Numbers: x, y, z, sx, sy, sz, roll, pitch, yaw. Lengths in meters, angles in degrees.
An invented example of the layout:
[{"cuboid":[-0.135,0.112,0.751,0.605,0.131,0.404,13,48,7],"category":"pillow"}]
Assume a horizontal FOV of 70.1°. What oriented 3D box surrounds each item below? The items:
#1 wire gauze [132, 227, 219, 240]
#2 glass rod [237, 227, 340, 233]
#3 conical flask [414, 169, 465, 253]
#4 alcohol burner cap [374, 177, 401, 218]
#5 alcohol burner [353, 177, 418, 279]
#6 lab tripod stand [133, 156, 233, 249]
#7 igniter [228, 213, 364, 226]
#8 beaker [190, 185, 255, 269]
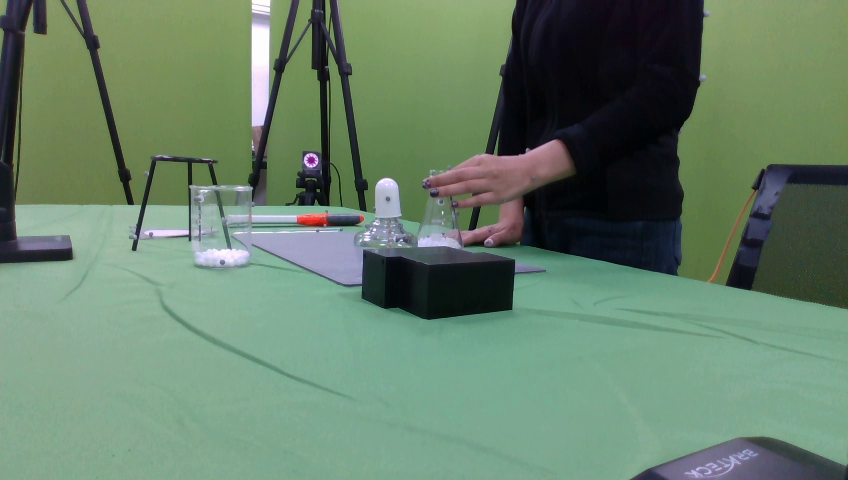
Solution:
[{"cuboid":[-0.421,-0.013,1.024,0.122,0.011,0.124,-2,7,-34],"category":"wire gauze"},{"cuboid":[-0.247,-0.020,1.124,0.201,0.008,0.008,-2,8,-34],"category":"glass rod"},{"cuboid":[0.025,-0.044,0.897,0.075,0.122,0.075,2,7,0],"category":"conical flask"},{"cuboid":[-0.044,-0.049,0.704,0.034,0.048,0.034,-4,10,1],"category":"alcohol burner cap"},{"cuboid":[-0.044,-0.014,0.710,0.078,0.119,0.078,4,9,0],"category":"alcohol burner"},{"cuboid":[-0.342,-0.054,0.878,0.148,0.131,0.148,4,6,0],"category":"lab tripod stand"},{"cuboid":[-0.252,-0.042,1.227,0.278,0.025,0.057,-3,-2,-32],"category":"igniter"},{"cuboid":[-0.254,-0.018,0.754,0.083,0.100,0.074,6,8,32],"category":"beaker"}]
